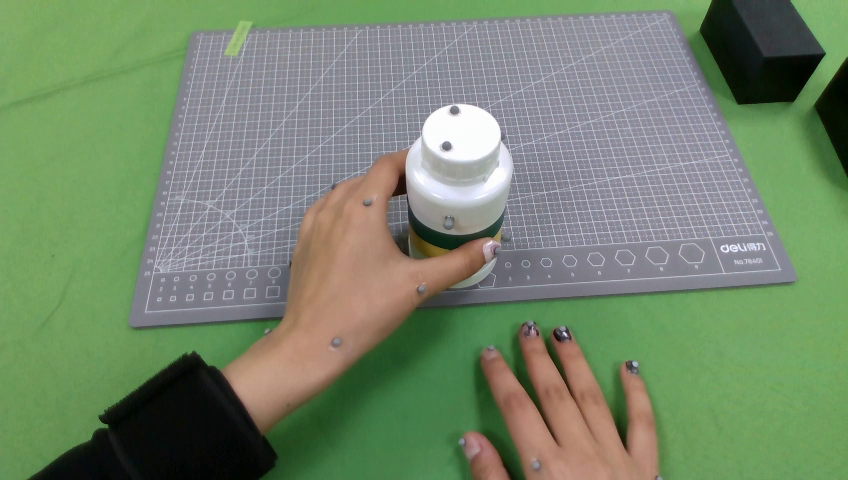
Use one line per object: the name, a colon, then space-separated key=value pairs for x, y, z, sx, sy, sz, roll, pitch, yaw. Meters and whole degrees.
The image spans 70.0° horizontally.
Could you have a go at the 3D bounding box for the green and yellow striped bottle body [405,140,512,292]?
green and yellow striped bottle body: x=0.020 y=-0.022 z=0.377 sx=0.063 sy=0.120 sz=0.062 roll=0 pitch=56 yaw=1

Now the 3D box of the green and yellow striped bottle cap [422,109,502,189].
green and yellow striped bottle cap: x=0.021 y=-0.051 z=0.334 sx=0.045 sy=0.020 sz=0.045 roll=0 pitch=56 yaw=1
